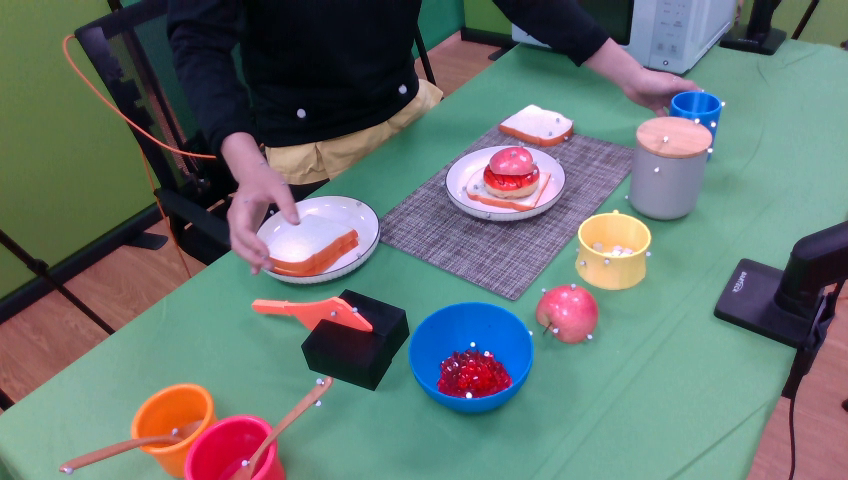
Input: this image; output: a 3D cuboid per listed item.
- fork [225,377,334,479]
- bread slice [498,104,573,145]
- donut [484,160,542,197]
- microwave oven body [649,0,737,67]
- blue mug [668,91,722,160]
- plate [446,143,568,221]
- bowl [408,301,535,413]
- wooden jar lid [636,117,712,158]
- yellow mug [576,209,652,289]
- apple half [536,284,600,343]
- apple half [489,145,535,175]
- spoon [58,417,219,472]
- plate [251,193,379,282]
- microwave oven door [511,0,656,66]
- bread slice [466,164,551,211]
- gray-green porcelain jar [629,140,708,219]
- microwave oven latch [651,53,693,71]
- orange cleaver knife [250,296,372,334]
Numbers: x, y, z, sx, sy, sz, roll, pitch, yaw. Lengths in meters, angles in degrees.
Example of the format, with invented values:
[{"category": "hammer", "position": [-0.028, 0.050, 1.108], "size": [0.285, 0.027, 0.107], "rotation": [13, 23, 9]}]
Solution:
[{"category": "fork", "position": [-0.163, 0.216, 0.646], "size": [0.207, 0.019, 0.028], "rotation": [-49, 42, 16]}, {"category": "bread slice", "position": [0.231, -0.231, 1.206], "size": [0.105, 0.019, 0.130], "rotation": [-36, 47, -28]}, {"category": "donut", "position": [0.149, -0.110, 1.015], "size": [0.099, 0.048, 0.098], "rotation": [-4, 41, 4]}, {"category": "microwave oven body", "position": [0.475, -0.602, 1.411], "size": [0.438, 0.261, 0.327], "rotation": [23, 50, 32]}, {"category": "blue mug", "position": [0.473, -0.208, 1.079], "size": [0.082, 0.106, 0.116], "rotation": [3, 42, 11]}, {"category": "plate", "position": [0.142, -0.096, 1.045], "size": [0.207, 0.039, 0.206], "rotation": [-4, 40, 4]}, {"category": "bowl", "position": [0.060, 0.156, 0.739], "size": [0.151, 0.077, 0.150], "rotation": [-4, 40, 4]}, {"category": "wooden jar lid", "position": [0.377, -0.151, 0.917], "size": [0.108, 0.021, 0.108], "rotation": [-2, 41, 2]}, {"category": "yellow mug", "position": [0.279, 0.004, 0.893], "size": [0.099, 0.064, 0.130], "rotation": [6, 42, 14]}, {"category": "apple half", "position": [0.196, 0.091, 0.815], "size": [0.075, 0.053, 0.080], "rotation": [-22, 42, -20]}, {"category": "apple half", "position": [0.145, -0.138, 0.995], "size": [0.081, 0.033, 0.081], "rotation": [-3, 34, 2]}, {"category": "spoon", "position": [-0.304, 0.221, 0.661], "size": [0.041, 0.195, 0.021], "rotation": [19, 92, 27]}, {"category": "plate", "position": [-0.174, -0.001, 0.985], "size": [0.209, 0.038, 0.208], "rotation": [-4, 40, 4]}, {"category": "microwave oven door", "position": [0.351, -0.540, 1.349], "size": [0.353, 0.245, 0.039], "rotation": [24, 50, 31]}, {"category": "bread slice", "position": [0.141, -0.093, 1.042], "size": [0.133, 0.018, 0.107], "rotation": [10, 43, 19]}, {"category": "gray-green porcelain jar", "position": [0.383, -0.105, 0.958], "size": [0.106, 0.127, 0.105], "rotation": [-4, 41, 4]}, {"category": "microwave oven latch", "position": [0.532, -0.387, 1.301], "size": [0.078, 0.029, 0.030], "rotation": [28, 52, 34]}, {"category": "orange cleaver knife", "position": [-0.158, 0.103, 0.828], "size": [0.210, 0.078, 0.012], "rotation": [-4, 43, 39]}]
